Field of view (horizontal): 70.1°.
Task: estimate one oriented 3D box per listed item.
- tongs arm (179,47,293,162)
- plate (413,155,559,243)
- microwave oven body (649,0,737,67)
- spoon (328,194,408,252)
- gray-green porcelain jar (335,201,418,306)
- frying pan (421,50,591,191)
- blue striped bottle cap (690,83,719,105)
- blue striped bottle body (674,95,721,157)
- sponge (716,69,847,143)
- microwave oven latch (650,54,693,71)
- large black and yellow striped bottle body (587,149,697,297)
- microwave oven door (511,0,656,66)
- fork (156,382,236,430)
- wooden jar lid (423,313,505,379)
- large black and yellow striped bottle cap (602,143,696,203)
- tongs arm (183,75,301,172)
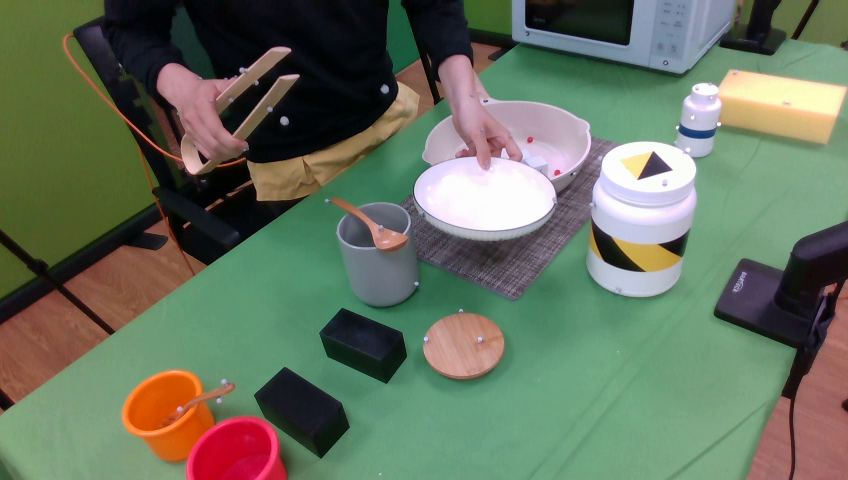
[{"bbox_3d":[-0.262,-0.167,0.806,0.027,0.051,0.382,-22,8,-37],"label":"tongs arm"},{"bbox_3d":[0.087,-0.056,0.867,0.208,0.039,0.206,1,36,0],"label":"plate"},{"bbox_3d":[0.475,-0.602,1.411,0.438,0.261,0.327,23,50,32],"label":"microwave oven body"},{"bbox_3d":[-0.083,-0.029,0.829,0.042,0.022,0.192,-34,44,-19],"label":"spoon"},{"bbox_3d":[-0.064,0.024,0.872,0.106,0.127,0.105,-4,41,4],"label":"gray-green porcelain jar"},{"bbox_3d":[0.127,-0.233,1.154,0.307,0.103,0.484,-11,49,-5],"label":"frying pan"},{"bbox_3d":[0.481,-0.251,1.038,0.044,0.021,0.044,-5,39,4],"label":"blue striped bottle cap"},{"bbox_3d":[0.486,-0.213,1.072,0.063,0.121,0.063,-4,41,4],"label":"blue striped bottle body"},{"bbox_3d":[0.663,-0.256,1.142,0.205,0.061,0.118,19,47,28],"label":"sponge"},{"bbox_3d":[0.531,-0.386,1.301,0.078,0.029,0.030,26,51,33],"label":"microwave oven latch"},{"bbox_3d":[0.298,-0.026,0.835,0.131,0.185,0.130,-4,41,4],"label":"large black and yellow striped bottle body"},{"bbox_3d":[0.351,-0.539,1.348,0.353,0.245,0.039,24,50,31],"label":"microwave oven door"},{"bbox_3d":[-0.262,0.189,0.690,0.018,0.206,0.028,49,43,-7],"label":"fork"},{"bbox_3d":[0.053,0.142,0.800,0.108,0.021,0.108,-5,39,4],"label":"wooden jar lid"},{"bbox_3d":[0.289,-0.088,0.778,0.115,0.019,0.114,-4,40,4],"label":"large black and yellow striped bottle cap"},{"bbox_3d":[-0.255,-0.146,0.807,0.028,0.028,0.385,-26,6,-37],"label":"tongs arm"}]
